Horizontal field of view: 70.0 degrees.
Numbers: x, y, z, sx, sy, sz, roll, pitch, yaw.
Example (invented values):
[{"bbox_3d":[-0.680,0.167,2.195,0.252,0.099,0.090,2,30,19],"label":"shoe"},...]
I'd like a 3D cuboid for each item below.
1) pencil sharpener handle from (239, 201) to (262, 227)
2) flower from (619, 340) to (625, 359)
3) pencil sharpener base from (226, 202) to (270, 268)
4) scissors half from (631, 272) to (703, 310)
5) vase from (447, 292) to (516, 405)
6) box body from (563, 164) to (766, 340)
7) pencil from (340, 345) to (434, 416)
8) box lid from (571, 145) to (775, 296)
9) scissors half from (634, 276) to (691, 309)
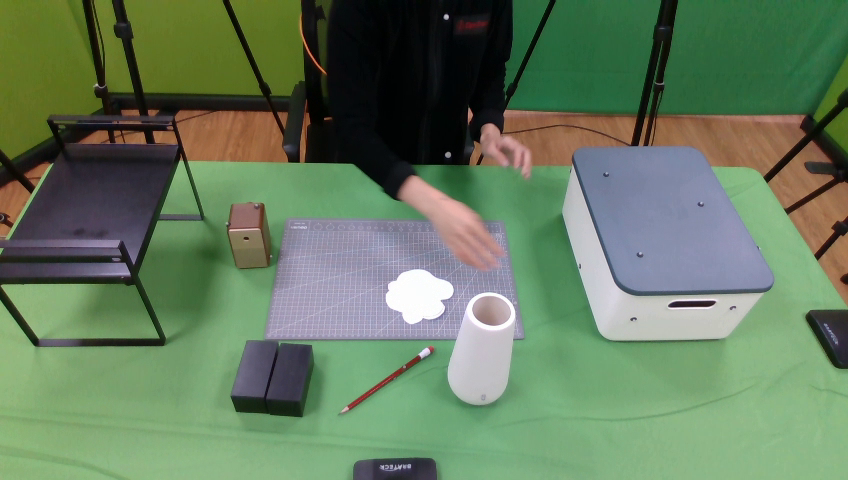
[{"bbox_3d":[-0.325,-0.056,1.150,0.036,0.068,0.030,-13,46,4],"label":"pencil sharpener handle"},{"bbox_3d":[0.416,0.065,1.186,0.038,0.044,0.360,29,64,-20],"label":"flower"},{"bbox_3d":[-0.323,-0.010,1.123,0.061,0.107,0.076,-3,46,-7],"label":"pencil sharpener base"},{"bbox_3d":[0.460,0.092,1.132,0.175,0.040,0.013,-22,84,-21],"label":"scissors half"},{"bbox_3d":[0.091,0.168,0.921,0.098,0.201,0.097,3,47,-3],"label":"vase"},{"bbox_3d":[0.421,0.003,1.130,0.254,0.161,0.361,0,46,-5],"label":"box body"},{"bbox_3d":[-0.059,0.228,0.984,0.194,0.012,0.012,-32,56,-28],"label":"pencil"},{"bbox_3d":[0.424,-0.048,1.074,0.263,0.015,0.369,-1,46,-4],"label":"box lid"},{"bbox_3d":[0.454,0.096,1.144,0.175,0.040,0.013,-20,89,-31],"label":"scissors half"}]
